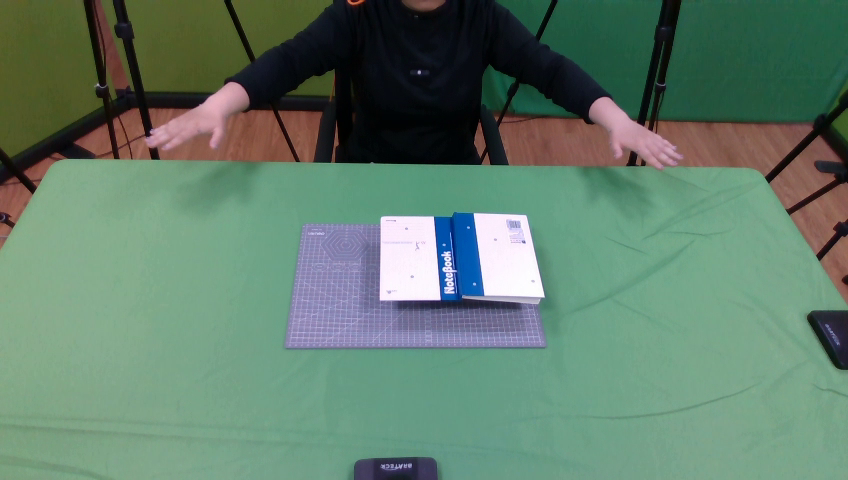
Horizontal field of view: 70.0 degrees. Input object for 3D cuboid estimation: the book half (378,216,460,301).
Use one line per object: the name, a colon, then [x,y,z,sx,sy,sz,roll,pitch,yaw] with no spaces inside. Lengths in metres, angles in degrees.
book half: [-0.011,0.029,1.111,0.143,0.007,0.208,0,46,-4]

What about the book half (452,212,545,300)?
book half: [0.132,0.026,1.116,0.149,0.016,0.209,2,45,-5]
